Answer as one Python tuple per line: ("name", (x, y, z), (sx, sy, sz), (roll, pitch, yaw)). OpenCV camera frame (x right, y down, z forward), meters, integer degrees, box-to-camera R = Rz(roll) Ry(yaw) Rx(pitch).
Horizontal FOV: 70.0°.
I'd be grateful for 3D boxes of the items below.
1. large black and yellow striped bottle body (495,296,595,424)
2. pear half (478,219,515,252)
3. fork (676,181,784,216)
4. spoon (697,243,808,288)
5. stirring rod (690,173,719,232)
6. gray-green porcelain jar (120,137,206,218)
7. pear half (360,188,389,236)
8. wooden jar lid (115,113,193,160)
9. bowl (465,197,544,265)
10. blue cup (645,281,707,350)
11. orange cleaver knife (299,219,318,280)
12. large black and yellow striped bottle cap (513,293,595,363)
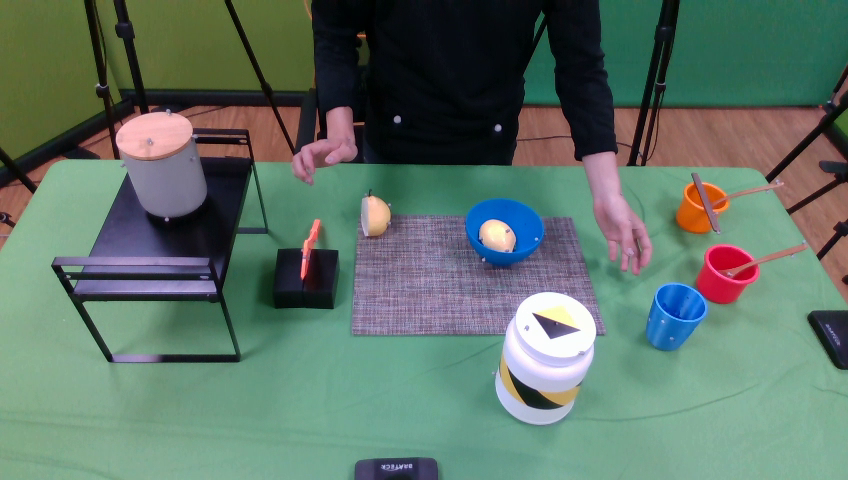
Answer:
("large black and yellow striped bottle body", (0.183, 0.182, 0.923), (0.131, 0.185, 0.130), (2, 46, -2))
("pear half", (0.143, -0.010, 1.164), (0.070, 0.031, 0.087), (-18, 55, -13))
("fork", (0.618, -0.084, 1.235), (0.207, 0.019, 0.028), (-23, 21, 38))
("spoon", (0.601, 0.045, 1.115), (0.194, 0.022, 0.041), (-29, 35, 30))
("stirring rod", (0.566, -0.079, 1.225), (0.014, 0.006, 0.175), (2, 45, 2))
("gray-green porcelain jar", (-0.403, -0.106, 0.946), (0.106, 0.127, 0.105), (3, 46, -2))
("pear half", (-0.096, -0.060, 1.181), (0.056, 0.110, 0.076), (-13, 53, -16))
("wooden jar lid", (-0.399, -0.151, 0.900), (0.108, 0.021, 0.107), (3, 46, -3))
("bowl", (0.149, -0.004, 1.167), (0.151, 0.077, 0.150), (3, 46, -2))
("blue cup", (0.425, 0.136, 1.042), (0.093, 0.101, 0.092), (1, 45, -1))
("orange cleaver knife", (-0.214, 0.013, 1.126), (0.012, 0.077, 0.210), (5, 17, -5))
("large black and yellow striped bottle cap", (0.186, 0.123, 0.863), (0.115, 0.019, 0.114), (3, 45, -3))
